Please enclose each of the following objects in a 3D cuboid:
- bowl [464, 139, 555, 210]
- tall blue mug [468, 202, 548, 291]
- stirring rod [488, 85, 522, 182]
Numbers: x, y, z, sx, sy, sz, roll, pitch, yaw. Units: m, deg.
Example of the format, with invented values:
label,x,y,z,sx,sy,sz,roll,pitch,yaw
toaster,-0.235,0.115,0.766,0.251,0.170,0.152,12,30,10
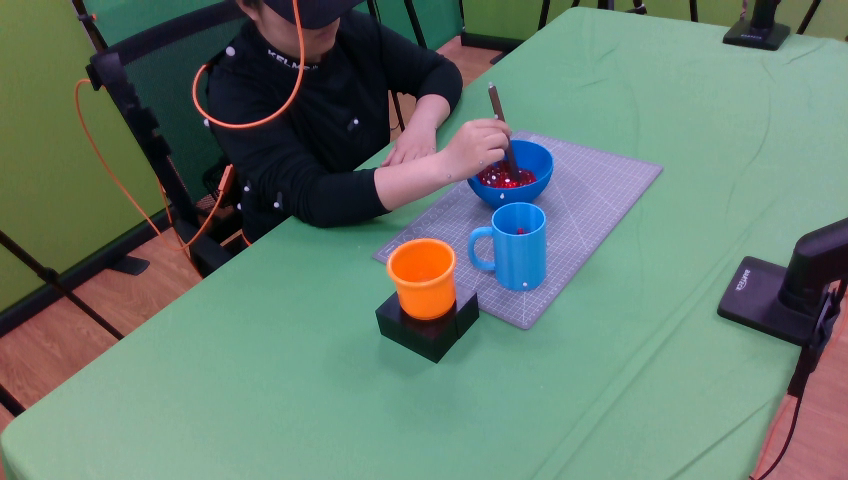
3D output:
label,x,y,z,sx,sy,sz,roll,pitch,yaw
bowl,0.145,-0.100,1.025,0.151,0.077,0.150,-5,40,5
tall blue mug,0.125,0.015,0.869,0.107,0.108,0.077,-21,42,-14
stirring rod,0.131,-0.169,0.973,0.014,0.177,0.005,-38,37,-21
